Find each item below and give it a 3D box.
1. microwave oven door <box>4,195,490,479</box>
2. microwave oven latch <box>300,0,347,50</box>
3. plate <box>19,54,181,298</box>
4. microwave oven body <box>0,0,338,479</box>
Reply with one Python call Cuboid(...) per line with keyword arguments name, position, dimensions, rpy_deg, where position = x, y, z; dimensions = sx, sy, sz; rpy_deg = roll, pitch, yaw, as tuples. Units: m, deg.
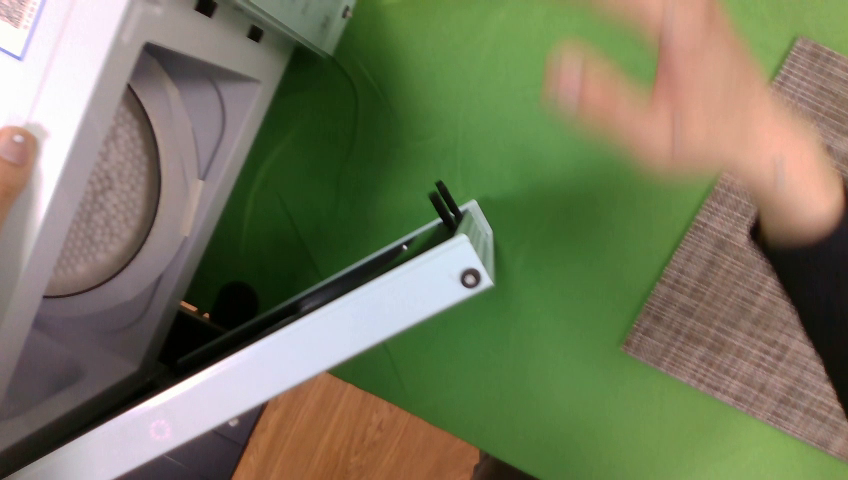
Cuboid(name="microwave oven door", position=(-0.116, 0.076, 0.435), dimensions=(0.356, 0.243, 0.039), rpy_deg=(-29, 94, 9))
Cuboid(name="microwave oven latch", position=(-0.078, -0.199, 0.494), dimensions=(0.030, 0.029, 0.079), rpy_deg=(29, 100, 0))
Cuboid(name="plate", position=(-0.298, -0.058, 0.496), dimensions=(0.209, 0.038, 0.209), rpy_deg=(0, 101, 2))
Cuboid(name="microwave oven body", position=(-0.298, -0.097, 0.432), dimensions=(0.326, 0.259, 0.442), rpy_deg=(27, 100, 1))
